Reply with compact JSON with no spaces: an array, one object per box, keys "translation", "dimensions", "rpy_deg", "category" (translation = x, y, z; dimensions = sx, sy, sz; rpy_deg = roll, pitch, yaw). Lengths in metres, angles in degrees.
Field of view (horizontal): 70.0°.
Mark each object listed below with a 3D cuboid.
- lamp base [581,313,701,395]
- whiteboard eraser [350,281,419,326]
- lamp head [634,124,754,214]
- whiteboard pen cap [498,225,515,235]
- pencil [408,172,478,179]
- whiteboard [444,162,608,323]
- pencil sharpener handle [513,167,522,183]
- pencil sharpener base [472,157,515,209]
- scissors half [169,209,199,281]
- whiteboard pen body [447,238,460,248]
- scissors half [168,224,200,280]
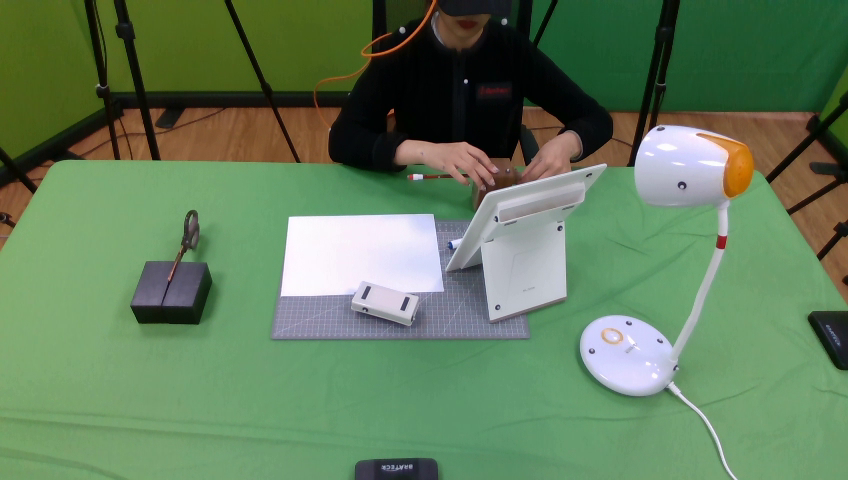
[{"translation":[0.361,0.144,0.972],"dimensions":[0.178,0.181,0.160],"rpy_deg":[34,53,23],"category":"lamp base"},{"translation":[-0.069,0.113,1.065],"dimensions":[0.112,0.042,0.055],"rpy_deg":[14,46,9],"category":"whiteboard eraser"},{"translation":[0.351,-0.089,0.775],"dimensions":[0.112,0.113,0.122],"rpy_deg":[-30,30,-28],"category":"lamp head"},{"translation":[0.166,-0.019,1.223],"dimensions":[0.033,0.018,0.018],"rpy_deg":[-13,48,-19],"category":"whiteboard pen cap"},{"translation":[0.063,-0.133,1.232],"dimensions":[0.194,0.012,0.012],"rpy_deg":[-3,47,-5],"category":"pencil"},{"translation":[0.186,0.025,1.029],"dimensions":[0.217,0.306,0.143],"rpy_deg":[-14,68,-18],"category":"whiteboard"},{"translation":[0.196,-0.133,1.260],"dimensions":[0.031,0.068,0.036],"rpy_deg":[-2,78,-6],"category":"pencil sharpener handle"},{"translation":[0.145,-0.115,1.259],"dimensions":[0.077,0.107,0.061],"rpy_deg":[-2,46,-6],"category":"pencil sharpener base"},{"translation":[-0.438,0.007,1.098],"dimensions":[0.013,0.040,0.174],"rpy_deg":[3,48,-3],"category":"scissors half"},{"translation":[0.112,-0.005,1.204],"dimensions":[0.141,0.017,0.017],"rpy_deg":[-14,49,-18],"category":"whiteboard pen body"},{"translation":[-0.440,0.023,1.111],"dimensions":[0.013,0.040,0.174],"rpy_deg":[7,29,-6],"category":"scissors half"}]
